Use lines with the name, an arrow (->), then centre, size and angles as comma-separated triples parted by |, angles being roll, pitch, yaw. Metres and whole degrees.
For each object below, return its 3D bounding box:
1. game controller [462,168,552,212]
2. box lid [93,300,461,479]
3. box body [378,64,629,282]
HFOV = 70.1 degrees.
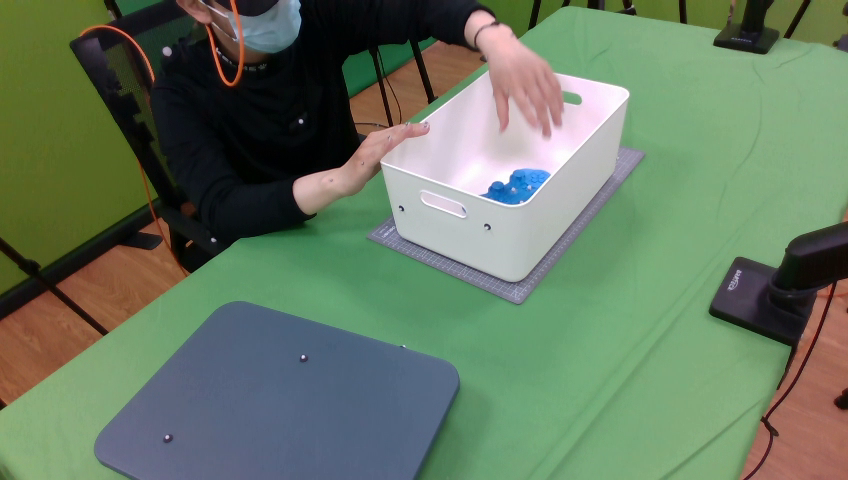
game controller -> 0.147, -0.079, 1.007 | 0.156, 0.052, 0.096 | -29, 50, -24
box lid -> -0.164, 0.200, 0.701 | 0.369, 0.015, 0.263 | 13, 44, 21
box body -> 0.137, -0.121, 0.978 | 0.252, 0.161, 0.365 | 22, 49, 30
